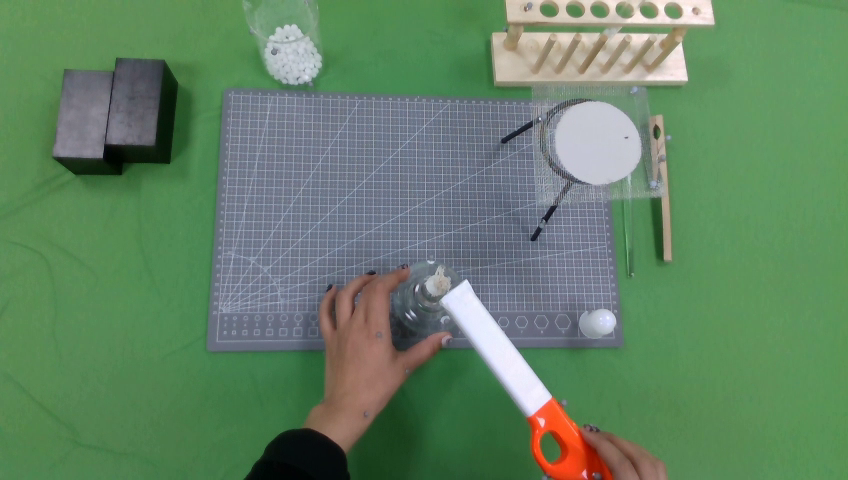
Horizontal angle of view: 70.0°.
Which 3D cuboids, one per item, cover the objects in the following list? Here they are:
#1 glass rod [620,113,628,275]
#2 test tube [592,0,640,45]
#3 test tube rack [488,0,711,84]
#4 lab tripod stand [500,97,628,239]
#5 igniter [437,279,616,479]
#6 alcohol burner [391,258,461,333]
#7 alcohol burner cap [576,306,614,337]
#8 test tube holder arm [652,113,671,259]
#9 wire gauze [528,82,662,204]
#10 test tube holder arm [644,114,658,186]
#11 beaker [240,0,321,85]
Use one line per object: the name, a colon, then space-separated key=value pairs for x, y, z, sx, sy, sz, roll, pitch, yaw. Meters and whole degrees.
glass rod: x=0.238 y=-0.057 z=0.721 sx=0.008 sy=0.008 sz=0.199 roll=3 pitch=80 yaw=-5
test tube: x=0.227 y=-0.263 z=0.677 sx=0.017 sy=0.150 sz=0.017 roll=3 pitch=75 yaw=-11
test tube rack: x=0.204 y=-0.236 z=0.719 sx=0.243 sy=0.085 sz=0.066 roll=-2 pitch=76 yaw=-6
lab tripod stand: x=0.145 y=-0.085 z=0.649 sx=0.148 sy=0.132 sz=0.147 roll=1 pitch=77 yaw=-3
igniter: x=0.104 y=0.154 z=0.533 sx=0.057 sy=0.025 sz=0.276 roll=-35 pitch=87 yaw=-18
alcohol burner: x=0.005 y=0.053 z=0.612 sx=0.078 sy=0.119 sz=0.077 roll=1 pitch=74 yaw=-4
alcohol burner cap: x=0.189 y=0.086 z=0.661 sx=0.034 sy=0.048 sz=0.033 roll=2 pitch=76 yaw=-6
test tube holder arm: x=0.281 y=-0.066 z=0.720 sx=0.013 sy=0.015 sz=0.177 roll=-8 pitch=76 yaw=27
wire gauze: x=0.162 y=-0.096 z=0.584 sx=0.121 sy=0.011 sz=0.124 roll=-1 pitch=76 yaw=-5
test tube holder arm: x=0.276 y=-0.109 z=0.732 sx=0.010 sy=0.015 sz=0.087 roll=-7 pitch=76 yaw=27
beaker: x=-0.155 y=-0.225 z=0.671 sx=0.084 sy=0.100 sz=0.073 roll=18 pitch=75 yaw=0
